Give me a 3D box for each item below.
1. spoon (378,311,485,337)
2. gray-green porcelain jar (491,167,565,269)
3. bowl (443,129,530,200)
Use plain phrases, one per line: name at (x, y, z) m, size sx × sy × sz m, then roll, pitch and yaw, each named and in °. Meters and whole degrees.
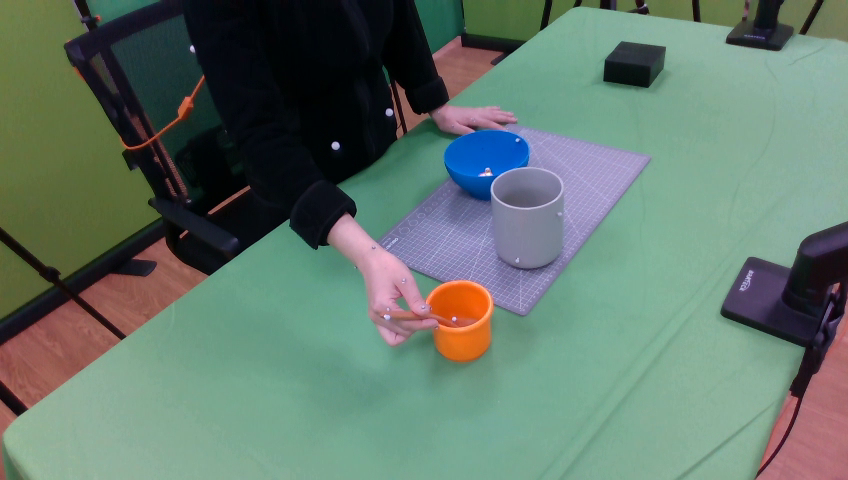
spoon at (0.013, 0.102, 0.764) m, size 0.041 × 0.195 × 0.021 m, roll 35°, pitch 100°, yaw 42°
gray-green porcelain jar at (0.157, -0.029, 0.904) m, size 0.106 × 0.127 × 0.105 m, roll -6°, pitch 40°, yaw 5°
bowl at (0.113, -0.123, 1.063) m, size 0.151 × 0.077 × 0.150 m, roll -6°, pitch 40°, yaw 5°
